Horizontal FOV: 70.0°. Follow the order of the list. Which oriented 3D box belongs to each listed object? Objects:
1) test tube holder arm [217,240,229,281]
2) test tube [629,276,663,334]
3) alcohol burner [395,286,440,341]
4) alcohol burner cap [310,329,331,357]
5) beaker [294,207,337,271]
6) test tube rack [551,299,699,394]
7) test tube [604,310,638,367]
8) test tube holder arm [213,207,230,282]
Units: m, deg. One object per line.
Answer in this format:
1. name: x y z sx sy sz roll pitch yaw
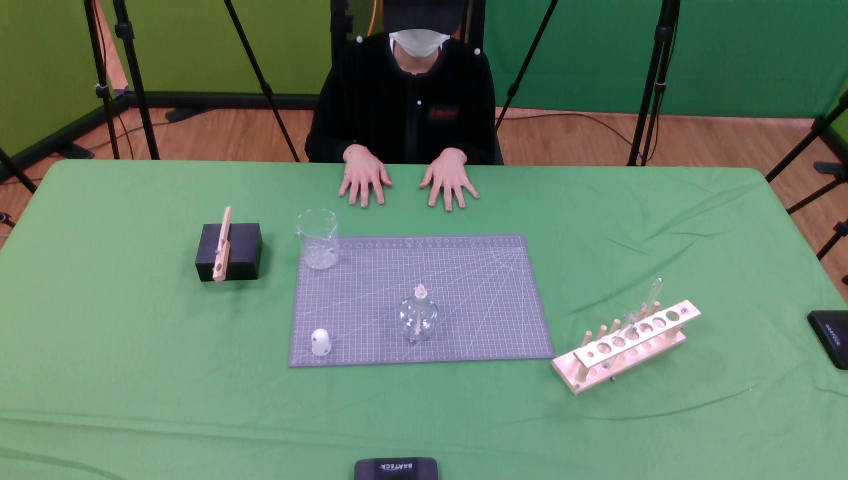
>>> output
1. test tube holder arm: -0.355 0.035 1.070 0.010 0.015 0.087 -9 47 -1
2. test tube: 0.370 0.111 1.015 0.017 0.151 0.017 1 48 -1
3. alcohol burner: -0.010 0.116 1.018 0.078 0.119 0.077 3 47 -3
4. alcohol burner cap: -0.173 0.168 1.005 0.034 0.048 0.033 2 46 -2
5. beaker: -0.196 0.003 1.123 0.074 0.101 0.083 -23 52 -24
6. test tube rack: 0.339 0.166 1.021 0.242 0.085 0.066 -19 50 -21
7. test tube: 0.310 0.158 0.957 0.017 0.151 0.017 1 49 -1
8. test tube holder arm: -0.366 0.004 1.101 0.013 0.015 0.177 -10 47 -2
